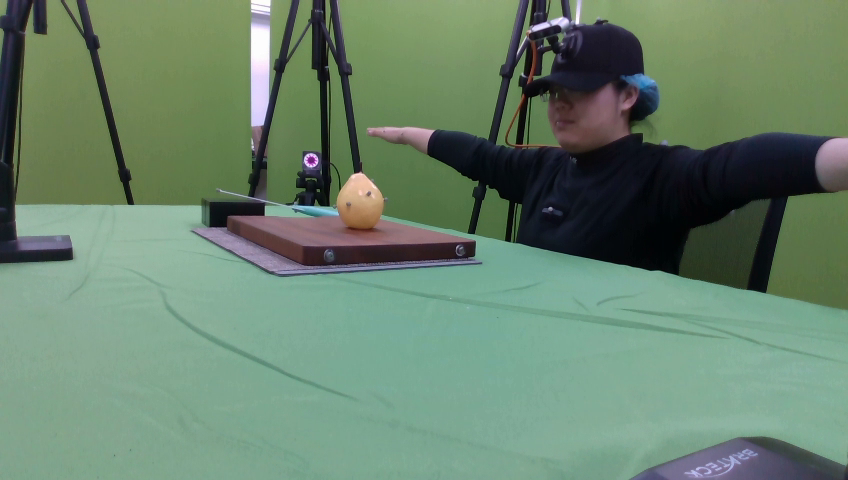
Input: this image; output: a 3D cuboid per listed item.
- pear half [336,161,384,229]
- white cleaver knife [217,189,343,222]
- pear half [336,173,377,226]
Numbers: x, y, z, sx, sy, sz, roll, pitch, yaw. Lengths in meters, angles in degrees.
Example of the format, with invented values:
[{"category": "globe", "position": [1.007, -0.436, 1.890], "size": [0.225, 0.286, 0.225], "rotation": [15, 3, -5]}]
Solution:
[{"category": "pear half", "position": [-0.099, -0.072, 0.972], "size": [0.077, 0.110, 0.055], "rotation": [-7, 11, -31]}, {"category": "white cleaver knife", "position": [-0.275, -0.066, 1.233], "size": [0.288, 0.021, 0.065], "rotation": [11, 7, -29]}, {"category": "pear half", "position": [-0.116, -0.067, 1.004], "size": [0.071, 0.088, 0.031], "rotation": [-11, 13, -30]}]
